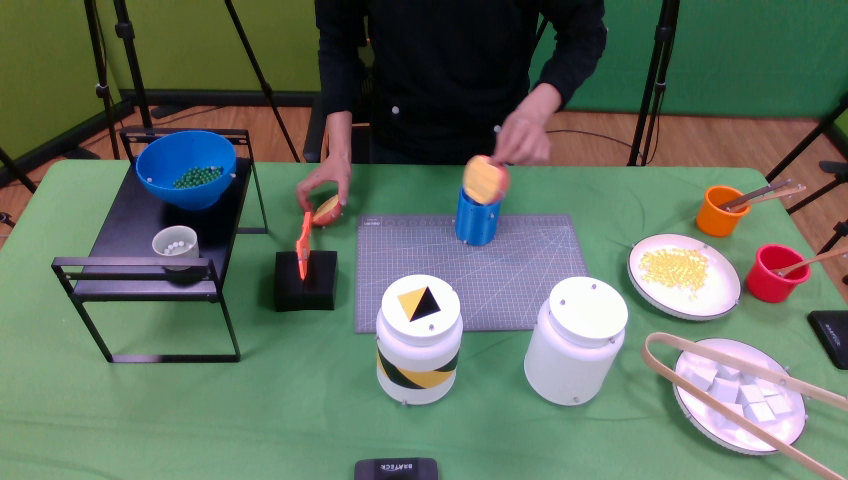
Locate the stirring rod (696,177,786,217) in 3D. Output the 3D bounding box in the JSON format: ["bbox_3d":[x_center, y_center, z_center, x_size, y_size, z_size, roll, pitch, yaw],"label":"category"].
[{"bbox_3d":[0.648,-0.087,1.244,0.176,0.006,0.014,-25,50,29],"label":"stirring rod"}]

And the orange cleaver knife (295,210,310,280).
[{"bbox_3d":[-0.223,0.005,1.125,0.012,0.077,0.210,-7,24,-3],"label":"orange cleaver knife"}]

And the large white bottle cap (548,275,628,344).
[{"bbox_3d":[0.240,0.100,0.890,0.115,0.018,0.114,3,47,-3],"label":"large white bottle cap"}]

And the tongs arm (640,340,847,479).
[{"bbox_3d":[0.500,0.277,0.919,0.386,0.028,0.028,34,59,22],"label":"tongs arm"}]

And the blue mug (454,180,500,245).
[{"bbox_3d":[0.106,-0.067,1.208,0.082,0.106,0.116,6,46,1],"label":"blue mug"}]

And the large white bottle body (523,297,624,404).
[{"bbox_3d":[0.235,0.159,0.952,0.131,0.185,0.130,2,47,-2],"label":"large white bottle body"}]

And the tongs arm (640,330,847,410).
[{"bbox_3d":[0.543,0.225,0.969,0.384,0.026,0.050,22,52,13],"label":"tongs arm"}]

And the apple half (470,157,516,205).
[{"bbox_3d":[0.123,-0.099,1.037,0.053,0.075,0.080,-6,34,-45],"label":"apple half"}]

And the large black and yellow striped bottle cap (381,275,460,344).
[{"bbox_3d":[-0.005,0.098,0.875,0.115,0.019,0.114,2,45,-2],"label":"large black and yellow striped bottle cap"}]

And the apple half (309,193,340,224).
[{"bbox_3d":[-0.193,-0.057,1.221,0.081,0.033,0.081,-34,22,16],"label":"apple half"}]

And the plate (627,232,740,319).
[{"bbox_3d":[0.489,0.070,1.157,0.209,0.038,0.208,3,46,-3],"label":"plate"}]

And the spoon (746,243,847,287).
[{"bbox_3d":[0.702,0.044,1.126,0.194,0.022,0.041,-29,38,30],"label":"spoon"}]

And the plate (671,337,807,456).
[{"bbox_3d":[0.504,0.254,0.984,0.208,0.039,0.206,2,46,-2],"label":"plate"}]

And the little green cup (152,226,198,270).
[{"bbox_3d":[-0.364,0.013,0.894,0.061,0.039,0.061,3,46,-3],"label":"little green cup"}]

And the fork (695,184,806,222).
[{"bbox_3d":[0.658,-0.074,1.230,0.207,0.019,0.028,-24,34,36],"label":"fork"}]

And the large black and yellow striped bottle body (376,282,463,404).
[{"bbox_3d":[-0.010,0.155,0.937,0.131,0.185,0.130,2,47,-2],"label":"large black and yellow striped bottle body"}]

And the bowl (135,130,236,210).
[{"bbox_3d":[-0.375,-0.102,0.978,0.151,0.077,0.150,3,46,-2],"label":"bowl"}]
